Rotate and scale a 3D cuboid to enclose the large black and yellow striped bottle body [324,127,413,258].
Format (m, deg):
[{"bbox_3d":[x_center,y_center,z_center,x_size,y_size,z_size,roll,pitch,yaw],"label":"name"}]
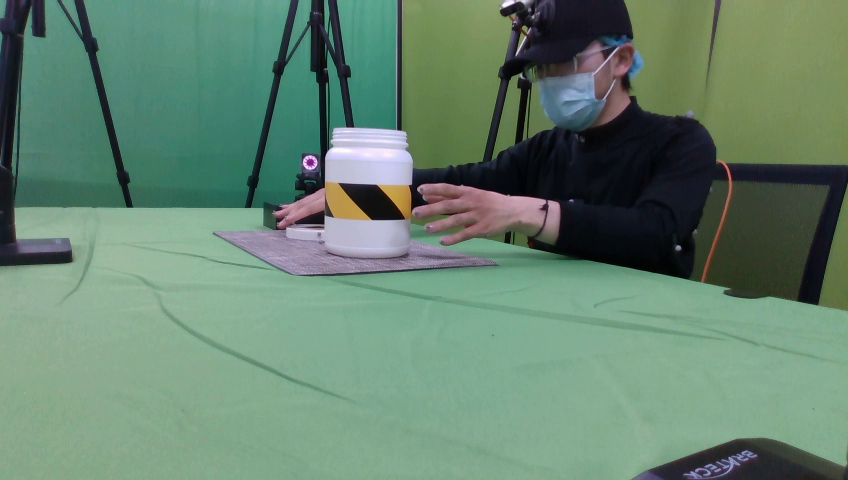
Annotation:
[{"bbox_3d":[-0.083,-0.073,0.899,0.131,0.184,0.130,2,7,0],"label":"large black and yellow striped bottle body"}]

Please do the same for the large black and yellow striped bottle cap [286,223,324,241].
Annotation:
[{"bbox_3d":[-0.187,-0.015,1.077,0.115,0.019,0.115,0,9,0],"label":"large black and yellow striped bottle cap"}]
